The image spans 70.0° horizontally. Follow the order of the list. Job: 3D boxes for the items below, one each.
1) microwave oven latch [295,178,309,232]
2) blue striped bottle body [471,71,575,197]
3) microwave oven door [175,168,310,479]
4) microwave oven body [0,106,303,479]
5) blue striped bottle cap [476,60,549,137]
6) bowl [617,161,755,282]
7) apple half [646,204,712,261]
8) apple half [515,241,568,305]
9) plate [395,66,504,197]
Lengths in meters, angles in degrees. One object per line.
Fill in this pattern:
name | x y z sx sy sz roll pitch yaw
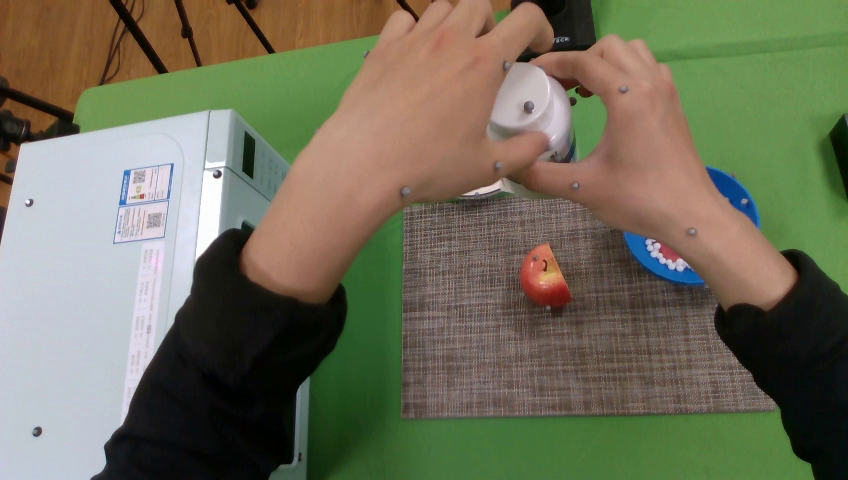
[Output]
microwave oven latch | -0.186 -0.051 0.893 0.030 0.030 0.078 -7 71 12
blue striped bottle body | 0.071 -0.076 0.427 0.063 0.122 0.063 -4 76 17
microwave oven door | -0.205 0.123 0.730 0.039 0.246 0.353 -7 70 13
microwave oven body | -0.347 0.102 0.778 0.325 0.262 0.438 -6 71 12
blue striped bottle cap | 0.055 -0.088 0.377 0.044 0.021 0.044 -3 80 16
bowl | 0.314 -0.013 0.746 0.151 0.077 0.150 -5 71 14
apple half | 0.314 -0.013 0.741 0.081 0.033 0.080 -5 69 13
apple half | 0.145 0.048 0.772 0.053 0.075 0.080 -25 71 9
plate | 0.062 -0.155 0.885 0.207 0.039 0.206 -4 71 13
